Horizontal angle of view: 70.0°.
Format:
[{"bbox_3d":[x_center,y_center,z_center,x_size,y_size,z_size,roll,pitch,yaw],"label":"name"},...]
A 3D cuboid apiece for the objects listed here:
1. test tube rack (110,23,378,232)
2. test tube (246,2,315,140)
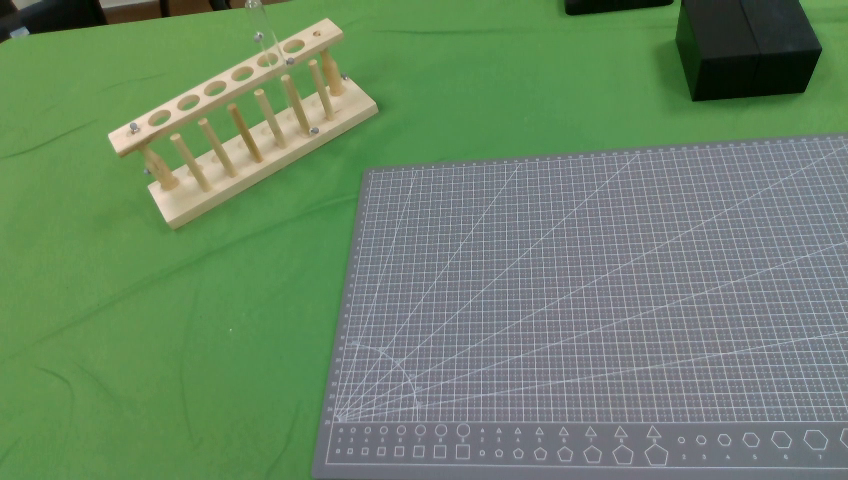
[{"bbox_3d":[-0.173,-0.116,0.611,0.242,0.086,0.066,-33,54,-13],"label":"test tube rack"},{"bbox_3d":[-0.134,-0.155,0.576,0.017,0.152,0.017,-6,50,8],"label":"test tube"}]
